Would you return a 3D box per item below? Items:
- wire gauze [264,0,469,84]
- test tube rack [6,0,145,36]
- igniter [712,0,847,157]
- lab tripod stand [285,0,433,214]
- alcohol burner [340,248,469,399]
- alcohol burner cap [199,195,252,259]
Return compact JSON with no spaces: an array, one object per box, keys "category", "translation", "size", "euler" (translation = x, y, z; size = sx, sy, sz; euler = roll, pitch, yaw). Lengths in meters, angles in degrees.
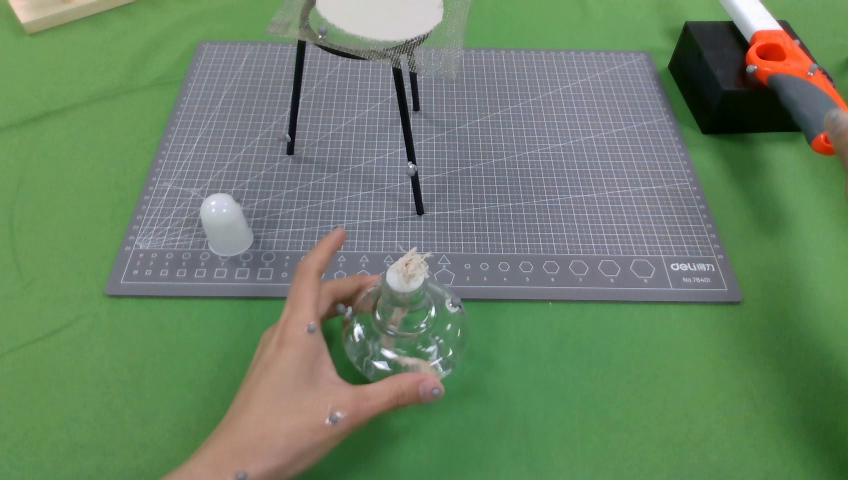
[{"category":"wire gauze","translation":[-0.030,-0.156,0.409],"size":[0.125,0.011,0.120],"euler":[11,52,4]},{"category":"test tube rack","translation":[-0.315,-0.304,0.631],"size":[0.242,0.086,0.066],"euler":[-30,59,-23]},{"category":"igniter","translation":[0.300,-0.169,0.531],"size":[0.057,0.025,0.273],"euler":[-3,50,-1]},{"category":"lab tripod stand","translation":[-0.038,-0.109,0.457],"size":[0.148,0.132,0.147],"euler":[3,52,-3]},{"category":"alcohol burner","translation":[-0.012,0.045,0.355],"size":[0.078,0.120,0.077],"euler":[0,53,0]},{"category":"alcohol burner cap","translation":[-0.144,-0.012,0.435],"size":[0.034,0.048,0.033],"euler":[2,51,-2]}]
